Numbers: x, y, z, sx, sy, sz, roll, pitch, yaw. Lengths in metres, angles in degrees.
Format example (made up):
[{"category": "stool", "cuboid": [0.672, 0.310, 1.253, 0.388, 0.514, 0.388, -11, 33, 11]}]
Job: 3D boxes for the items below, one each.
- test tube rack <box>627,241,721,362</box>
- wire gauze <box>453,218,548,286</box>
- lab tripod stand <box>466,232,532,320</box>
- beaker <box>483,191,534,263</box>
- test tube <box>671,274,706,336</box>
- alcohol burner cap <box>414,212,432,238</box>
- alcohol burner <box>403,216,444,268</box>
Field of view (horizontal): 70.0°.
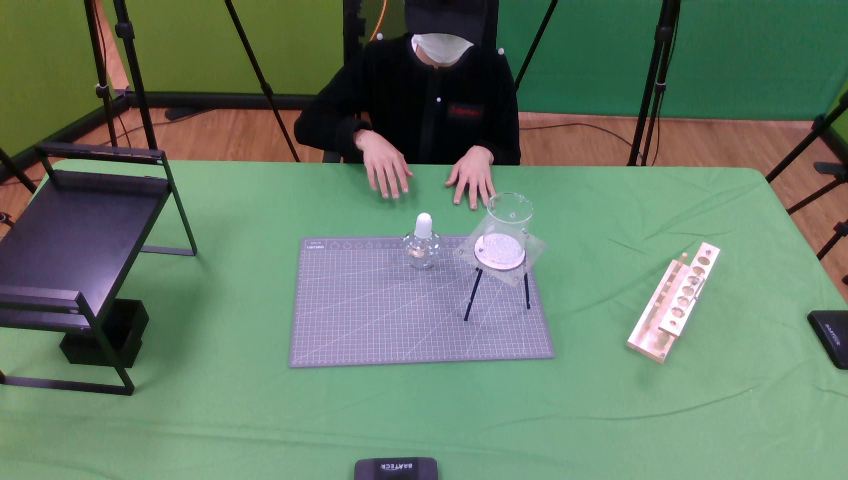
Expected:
[{"category": "test tube rack", "cuboid": [0.452, 0.098, 1.087, 0.066, 0.085, 0.242, 28, 51, 22]}, {"category": "wire gauze", "cuboid": [0.129, 0.014, 1.018, 0.124, 0.011, 0.121, 26, 47, 25]}, {"category": "lab tripod stand", "cuboid": [0.125, 0.059, 1.065, 0.148, 0.132, 0.147, 1, 45, 0]}, {"category": "beaker", "cuboid": [0.135, -0.020, 0.983, 0.073, 0.101, 0.084, 28, 50, 23]}, {"category": "test tube", "cuboid": [0.429, 0.112, 1.004, 0.017, 0.151, 0.017, 4, 43, -4]}, {"category": "alcohol burner cap", "cuboid": [0.000, -0.030, 1.107, 0.034, 0.048, 0.033, 4, 41, -3]}, {"category": "alcohol burner", "cuboid": [-0.001, -0.004, 1.132, 0.078, 0.120, 0.077, 1, 47, 0]}]
